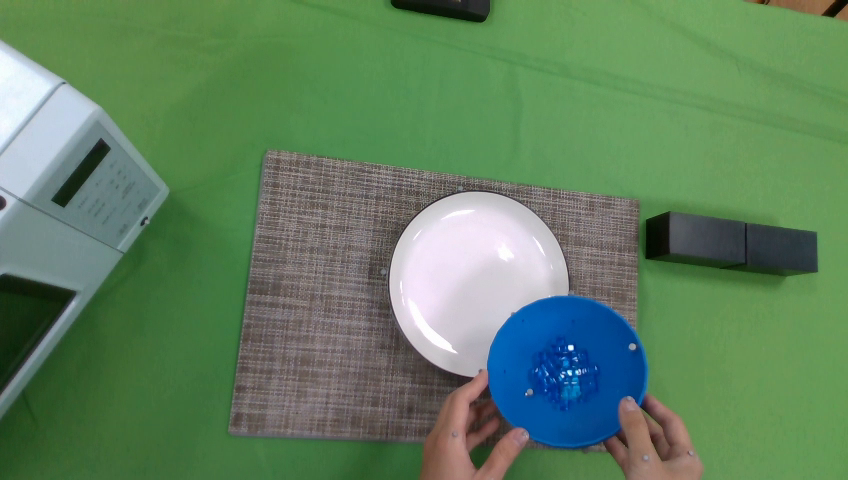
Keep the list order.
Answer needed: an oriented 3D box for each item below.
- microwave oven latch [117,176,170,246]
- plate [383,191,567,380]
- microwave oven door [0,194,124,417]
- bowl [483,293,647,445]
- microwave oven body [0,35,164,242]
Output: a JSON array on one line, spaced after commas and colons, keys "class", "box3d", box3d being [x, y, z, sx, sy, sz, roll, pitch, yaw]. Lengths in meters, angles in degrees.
[{"class": "microwave oven latch", "box3d": [-0.286, -0.034, 0.599, 0.030, 0.029, 0.079, 35, 77, -5]}, {"class": "plate", "box3d": [0.055, 0.050, 0.674, 0.208, 0.039, 0.207, 2, 81, -12]}, {"class": "microwave oven door", "box3d": [-0.380, 0.130, 0.450, 0.039, 0.244, 0.355, 33, 76, -4]}, {"class": "bowl", "box3d": [0.140, 0.136, 0.604, 0.151, 0.077, 0.150, -9, 57, 14]}, {"class": "microwave oven body", "box3d": [-0.482, 0.016, 0.450, 0.327, 0.260, 0.440, 33, 77, -6]}]
